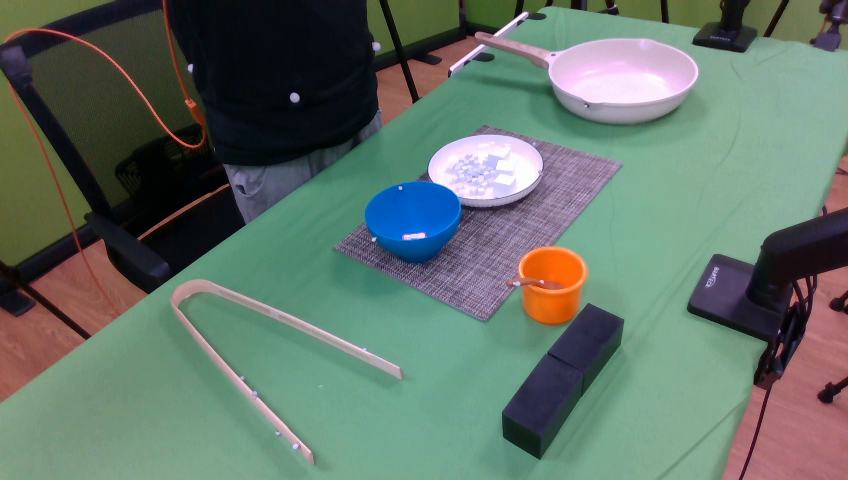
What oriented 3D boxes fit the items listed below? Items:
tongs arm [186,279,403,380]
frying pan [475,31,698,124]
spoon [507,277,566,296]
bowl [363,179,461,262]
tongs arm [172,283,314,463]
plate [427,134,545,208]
[{"bbox_3d":[-0.193,0.120,0.854,0.385,0.028,0.028,18,48,26],"label":"tongs arm"},{"bbox_3d":[0.320,-0.371,1.290,0.485,0.103,0.307,28,50,23],"label":"frying pan"},{"bbox_3d":[0.143,0.058,0.783,0.041,0.195,0.021,15,89,29],"label":"spoon"},{"bbox_3d":[-0.014,-0.020,0.943,0.151,0.077,0.150,-4,41,4],"label":"bowl"},{"bbox_3d":[-0.246,0.161,0.806,0.381,0.026,0.051,29,51,36],"label":"tongs arm"},{"bbox_3d":[0.110,-0.119,1.073,0.207,0.039,0.206,-4,40,4],"label":"plate"}]
